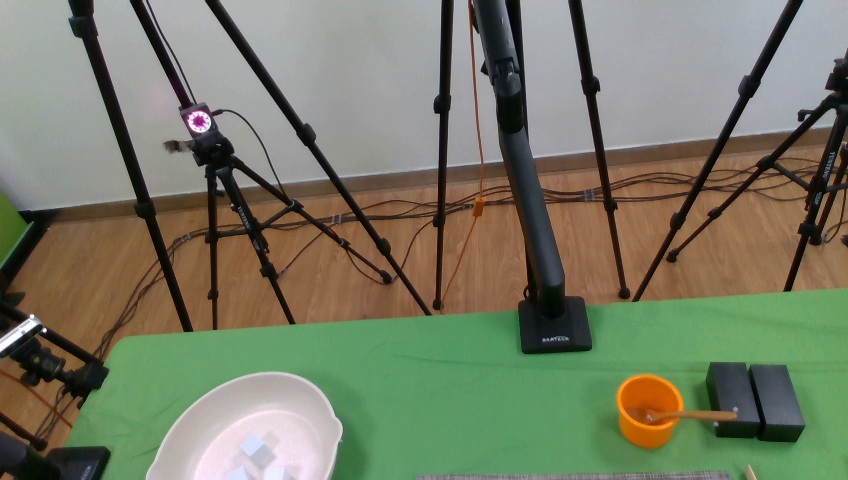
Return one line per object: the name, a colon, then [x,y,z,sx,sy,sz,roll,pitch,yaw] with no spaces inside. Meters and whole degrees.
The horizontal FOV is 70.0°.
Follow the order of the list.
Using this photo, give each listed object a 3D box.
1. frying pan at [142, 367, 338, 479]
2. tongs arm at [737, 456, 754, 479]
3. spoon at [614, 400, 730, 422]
frying pan: [-0.261,0.397,0.863,0.307,0.104,0.482,-14,36,0]
tongs arm: [0.470,0.439,0.713,0.028,0.028,0.383,-10,44,-1]
spoon: [0.343,0.239,0.855,0.021,0.193,0.041,50,60,-4]
